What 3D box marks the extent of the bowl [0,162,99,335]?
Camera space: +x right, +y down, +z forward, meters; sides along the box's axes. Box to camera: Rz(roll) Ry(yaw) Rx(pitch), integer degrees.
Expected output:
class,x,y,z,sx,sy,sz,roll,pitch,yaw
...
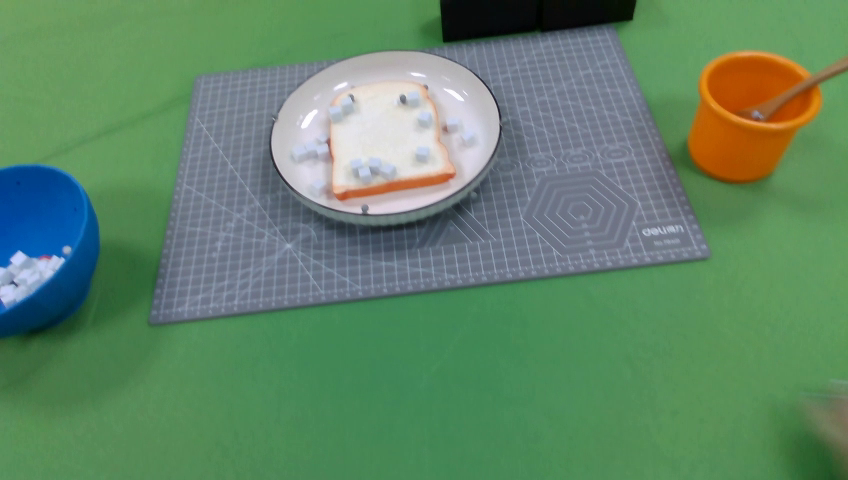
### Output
class,x,y,z,sx,sy,sz,roll,pitch,yaw
bowl,-0.323,0.019,0.480,0.151,0.077,0.150,-2,55,4

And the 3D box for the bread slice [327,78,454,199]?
class,x,y,z,sx,sy,sz,roll,pitch,yaw
bread slice,-0.040,-0.097,0.559,0.107,0.018,0.133,-13,56,-3

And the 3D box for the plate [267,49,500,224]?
class,x,y,z,sx,sy,sz,roll,pitch,yaw
plate,-0.036,-0.094,0.554,0.209,0.038,0.207,-3,55,4

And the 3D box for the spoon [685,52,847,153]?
class,x,y,z,sx,sy,sz,roll,pitch,yaw
spoon,0.301,-0.122,0.478,0.022,0.193,0.041,25,51,-32
